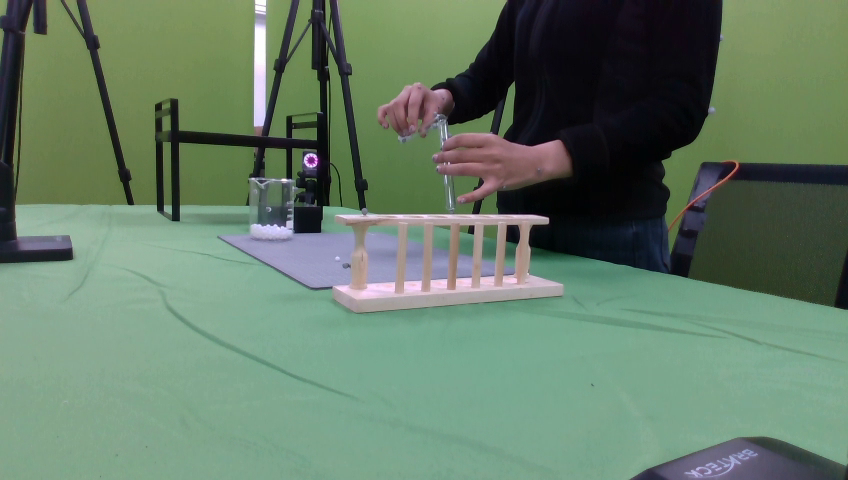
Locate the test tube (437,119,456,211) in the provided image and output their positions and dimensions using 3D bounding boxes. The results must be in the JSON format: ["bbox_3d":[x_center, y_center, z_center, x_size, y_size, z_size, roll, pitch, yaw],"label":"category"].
[{"bbox_3d":[0.032,-0.111,0.877,0.017,0.150,0.017,-4,-24,-1],"label":"test tube"}]

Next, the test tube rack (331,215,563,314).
[{"bbox_3d":[0.031,0.019,0.625,0.243,0.085,0.066,-1,8,-28],"label":"test tube rack"}]

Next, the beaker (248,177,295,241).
[{"bbox_3d":[-0.252,-0.051,0.992,0.074,0.100,0.084,3,9,6],"label":"beaker"}]

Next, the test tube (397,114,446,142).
[{"bbox_3d":[-0.007,-0.179,0.973,0.017,0.017,0.150,-2,-2,-28],"label":"test tube"}]
